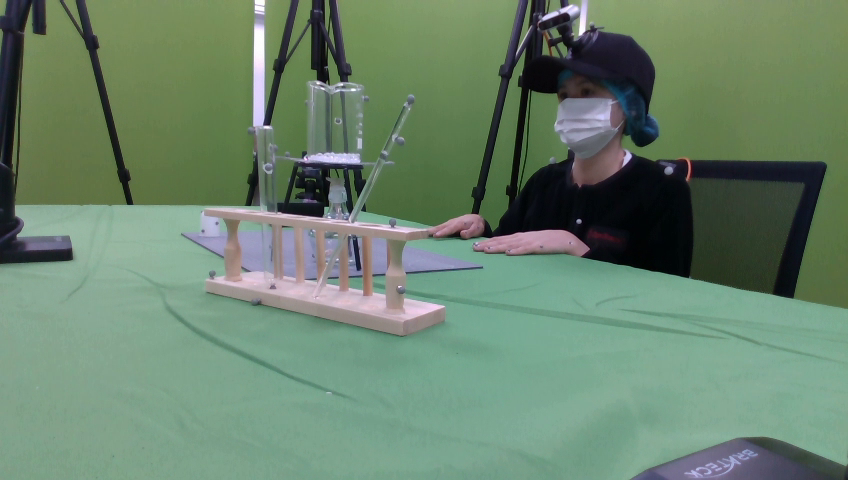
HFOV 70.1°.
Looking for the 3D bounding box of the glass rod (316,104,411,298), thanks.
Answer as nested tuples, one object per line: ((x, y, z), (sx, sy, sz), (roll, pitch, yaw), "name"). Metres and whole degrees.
((-0.054, -0.026, 0.517), (0.008, 0.199, 0.008), (23, 25, -11), "glass rod")

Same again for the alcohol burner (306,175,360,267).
((-0.115, -0.025, 0.791), (0.078, 0.119, 0.078), (1, 8, 0), "alcohol burner")

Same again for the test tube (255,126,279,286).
((-0.147, -0.031, 0.566), (0.017, 0.150, 0.017), (-1, 8, 0), "test tube")

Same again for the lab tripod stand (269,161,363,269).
((-0.125, -0.036, 0.794), (0.148, 0.131, 0.148), (5, 7, 0), "lab tripod stand")

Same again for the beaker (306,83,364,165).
((-0.115, -0.147, 0.775), (0.074, 0.100, 0.084), (2, 8, -2), "beaker")

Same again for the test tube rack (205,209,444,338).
((-0.100, 0.021, 0.565), (0.241, 0.085, 0.067), (7, 9, 32), "test tube rack")

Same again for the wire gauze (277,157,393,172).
((-0.122, -0.100, 0.786), (0.122, 0.011, 0.124), (-5, 14, -38), "wire gauze")

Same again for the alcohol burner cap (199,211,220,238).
((-0.356, -0.027, 1.002), (0.034, 0.048, 0.034), (2, 7, 0), "alcohol burner cap")
